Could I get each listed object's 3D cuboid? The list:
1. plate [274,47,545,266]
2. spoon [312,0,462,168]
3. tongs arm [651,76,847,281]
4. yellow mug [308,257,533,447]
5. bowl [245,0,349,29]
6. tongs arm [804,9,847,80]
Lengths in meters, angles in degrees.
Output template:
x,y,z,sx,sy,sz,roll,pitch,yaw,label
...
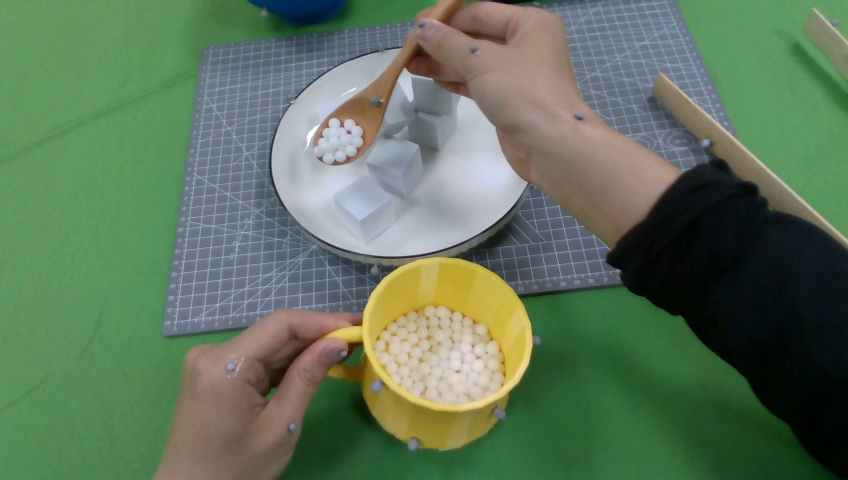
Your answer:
x,y,z,sx,sy,sz,roll,pitch,yaw,label
-0.011,-0.067,0.478,0.207,0.039,0.206,-2,60,4,plate
-0.008,-0.121,0.392,0.194,0.022,0.041,-47,68,21,spoon
0.295,0.008,0.414,0.028,0.028,0.384,-29,62,-15,tongs arm
-0.004,0.069,0.371,0.131,0.064,0.099,-2,54,-8,yellow mug
-0.116,-0.259,0.580,0.151,0.077,0.150,-3,59,5,bowl
0.369,-0.025,0.422,0.051,0.027,0.381,-19,62,-5,tongs arm
